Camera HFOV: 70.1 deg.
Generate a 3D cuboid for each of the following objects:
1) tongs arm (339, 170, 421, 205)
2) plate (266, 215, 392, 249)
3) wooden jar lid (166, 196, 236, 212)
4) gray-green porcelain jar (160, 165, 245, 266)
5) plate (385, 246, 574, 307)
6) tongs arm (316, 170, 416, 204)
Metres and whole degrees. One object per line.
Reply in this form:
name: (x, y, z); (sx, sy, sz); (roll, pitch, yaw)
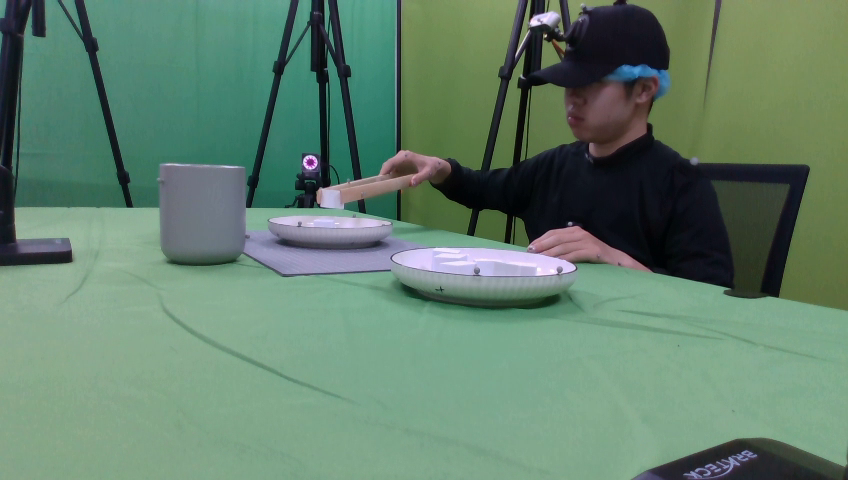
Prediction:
tongs arm: (-0.075, -0.108, 1.196); (0.028, 0.028, 0.388); (0, 11, 21)
plate: (-0.159, -0.015, 1.019); (0.209, 0.038, 0.209); (3, 7, 0)
wooden jar lid: (-0.369, -0.060, 1.001); (0.108, 0.020, 0.108); (3, 6, 0)
gray-green porcelain jar: (-0.291, -0.034, 0.799); (0.106, 0.126, 0.106); (2, 8, 0)
plate: (0.060, 0.041, 0.678); (0.208, 0.039, 0.207); (3, 7, 0)
tongs arm: (-0.102, -0.111, 1.206); (0.050, 0.026, 0.386); (3, 12, 18)
